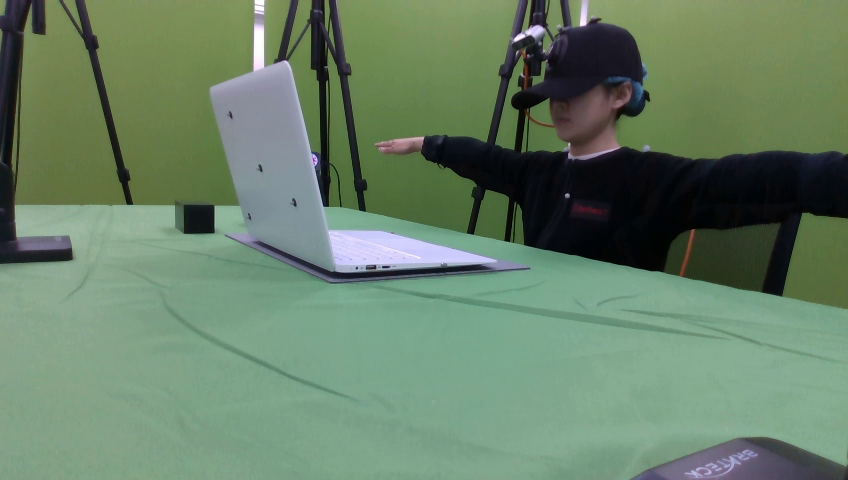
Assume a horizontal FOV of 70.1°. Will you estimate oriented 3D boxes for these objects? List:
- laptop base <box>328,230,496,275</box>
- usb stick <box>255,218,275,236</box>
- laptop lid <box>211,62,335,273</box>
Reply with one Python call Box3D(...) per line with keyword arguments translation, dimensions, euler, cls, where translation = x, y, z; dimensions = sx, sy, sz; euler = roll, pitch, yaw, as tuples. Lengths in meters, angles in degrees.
Box3D(translation=(-0.091, 0.016, 0.884), dimensions=(0.237, 0.023, 0.352), euler=(3, 6, -32), cls="laptop base")
Box3D(translation=(-0.262, -0.021, 1.003), dimensions=(0.021, 0.027, 0.059), euler=(0, 10, -32), cls="usb stick")
Box3D(translation=(-0.211, -0.095, 0.791), dimensions=(0.013, 0.241, 0.355), euler=(-18, 18, -29), cls="laptop lid")
